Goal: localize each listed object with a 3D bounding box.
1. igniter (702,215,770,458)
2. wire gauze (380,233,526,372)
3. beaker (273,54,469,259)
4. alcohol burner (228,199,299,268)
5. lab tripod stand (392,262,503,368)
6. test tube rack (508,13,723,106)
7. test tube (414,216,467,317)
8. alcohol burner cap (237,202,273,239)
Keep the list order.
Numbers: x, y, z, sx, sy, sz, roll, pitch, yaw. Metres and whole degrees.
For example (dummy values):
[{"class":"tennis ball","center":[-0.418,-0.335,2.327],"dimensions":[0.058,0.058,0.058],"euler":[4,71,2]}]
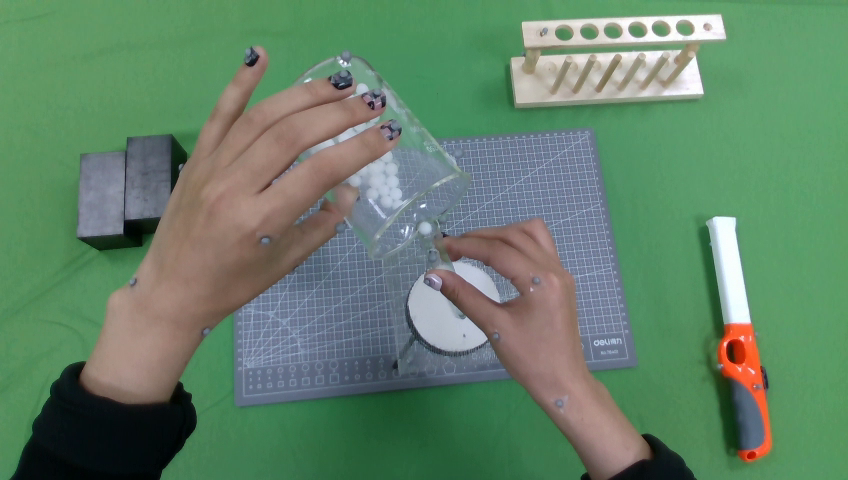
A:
[{"class":"igniter","center":[0.356,0.104,0.695],"dimensions":[0.057,0.025,0.275],"euler":[2,74,-12]},{"class":"wire gauze","center":[0.026,0.056,0.565],"dimensions":[0.125,0.011,0.120],"euler":[-6,73,-5]},{"class":"beaker","center":[-0.033,-0.050,0.354],"dimensions":[0.074,0.084,0.100],"euler":[-40,79,2]},{"class":"alcohol burner","center":[-0.177,-0.013,0.656],"dimensions":[0.078,0.120,0.077],"euler":[0,72,-1]},{"class":"lab tripod stand","center":[0.022,0.078,0.629],"dimensions":[0.148,0.132,0.147],"euler":[0,73,0]},{"class":"test tube rack","center":[0.233,-0.221,0.750],"dimensions":[0.242,0.085,0.066],"euler":[-4,74,-3]},{"class":"test tube","center":[0.015,0.025,0.448],"dimensions":[0.017,0.151,0.017],"euler":[-5,61,10]},{"class":"alcohol burner cap","center":[-0.175,-0.022,0.621],"dimensions":[0.034,0.048,0.033],"euler":[1,76,-6]}]
